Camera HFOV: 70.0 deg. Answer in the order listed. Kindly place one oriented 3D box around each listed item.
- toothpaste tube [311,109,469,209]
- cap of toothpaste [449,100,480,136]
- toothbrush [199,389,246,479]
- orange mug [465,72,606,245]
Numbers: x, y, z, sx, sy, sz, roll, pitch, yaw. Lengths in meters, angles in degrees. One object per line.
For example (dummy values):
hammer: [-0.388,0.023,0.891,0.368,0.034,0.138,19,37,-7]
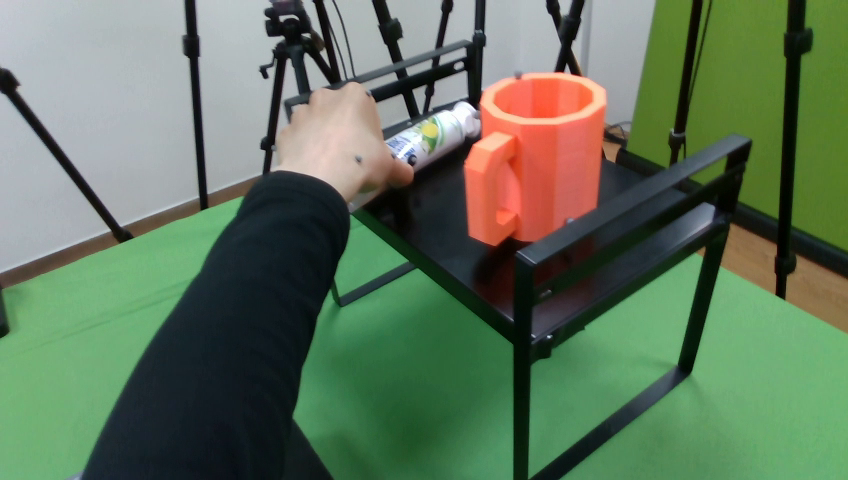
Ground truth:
toothpaste tube: [-0.019,-0.078,0.533,0.054,0.035,0.165,33,50,31]
cap of toothpaste: [0.037,-0.114,0.574,0.037,0.038,0.011,27,48,36]
toothbrush: [-0.139,0.173,0.447,0.014,0.017,0.180,-20,39,-23]
orange mug: [0.075,-0.054,0.436,0.083,0.101,0.126,25,42,35]
